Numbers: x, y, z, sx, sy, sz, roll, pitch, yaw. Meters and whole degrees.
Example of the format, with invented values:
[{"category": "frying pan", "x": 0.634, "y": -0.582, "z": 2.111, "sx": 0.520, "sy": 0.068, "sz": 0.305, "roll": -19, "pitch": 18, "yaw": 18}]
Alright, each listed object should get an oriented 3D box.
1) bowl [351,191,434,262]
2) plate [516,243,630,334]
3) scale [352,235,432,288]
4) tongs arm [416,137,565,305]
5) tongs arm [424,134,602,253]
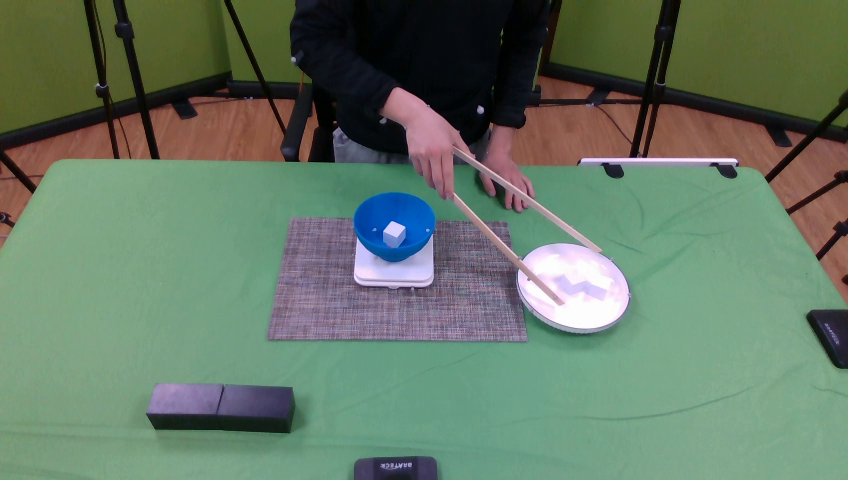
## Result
[{"category": "bowl", "x": -0.058, "y": -0.013, "z": 1.119, "sx": 0.151, "sy": 0.077, "sz": 0.150, "roll": 2, "pitch": 46, "yaw": -1}, {"category": "plate", "x": 0.272, "y": 0.092, "z": 1.120, "sx": 0.208, "sy": 0.039, "sz": 0.206, "roll": 2, "pitch": 46, "yaw": -2}, {"category": "scale", "x": -0.060, "y": 0.010, "z": 1.171, "sx": 0.149, "sy": 0.032, "sz": 0.199, "roll": 2, "pitch": 46, "yaw": -3}, {"category": "tongs arm", "x": 0.122, "y": -0.032, "z": 1.089, "sx": 0.385, "sy": 0.026, "sz": 0.050, "roll": 43, "pitch": 73, "yaw": -1}, {"category": "tongs arm", "x": 0.165, "y": -0.084, "z": 1.112, "sx": 0.388, "sy": 0.028, "sz": 0.028, "roll": 34, "pitch": 76, "yaw": -4}]
